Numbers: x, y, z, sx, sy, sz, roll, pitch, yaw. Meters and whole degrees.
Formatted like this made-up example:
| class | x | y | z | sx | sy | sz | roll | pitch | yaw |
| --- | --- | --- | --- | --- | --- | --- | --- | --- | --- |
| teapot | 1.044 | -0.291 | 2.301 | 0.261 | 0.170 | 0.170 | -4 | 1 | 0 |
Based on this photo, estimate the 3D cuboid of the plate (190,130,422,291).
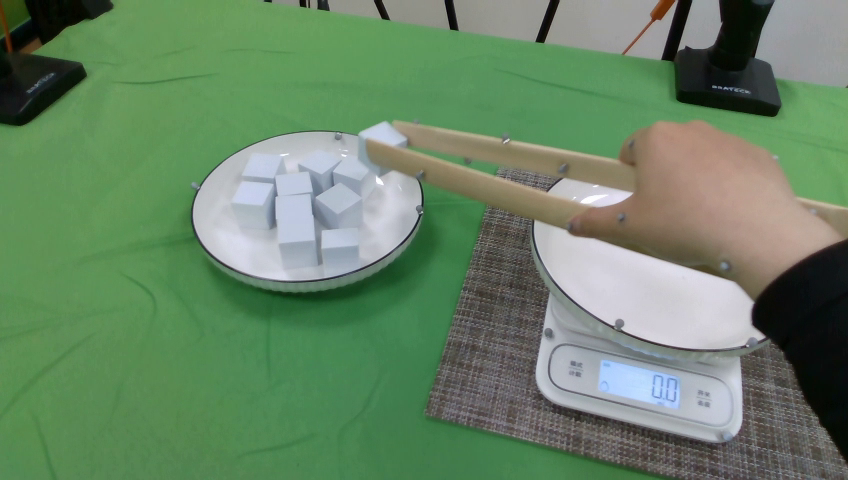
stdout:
| class | x | y | z | sx | sy | sz | roll | pitch | yaw |
| --- | --- | --- | --- | --- | --- | --- | --- | --- | --- |
| plate | -0.106 | -0.028 | 0.565 | 0.209 | 0.038 | 0.207 | 2 | 46 | -1 |

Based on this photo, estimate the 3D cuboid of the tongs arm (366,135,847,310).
| class | x | y | z | sx | sy | sz | roll | pitch | yaw |
| --- | --- | --- | --- | --- | --- | --- | --- | --- | --- |
| tongs arm | 0.098 | -0.025 | 0.406 | 0.384 | 0.028 | 0.028 | 21 | 44 | 36 |

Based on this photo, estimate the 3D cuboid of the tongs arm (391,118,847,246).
| class | x | y | z | sx | sy | sz | roll | pitch | yaw |
| --- | --- | --- | --- | --- | --- | --- | --- | --- | --- |
| tongs arm | 0.113 | -0.039 | 0.418 | 0.381 | 0.027 | 0.050 | 17 | 45 | 34 |

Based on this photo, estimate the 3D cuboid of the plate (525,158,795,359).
| class | x | y | z | sx | sy | sz | roll | pitch | yaw |
| --- | --- | --- | --- | --- | --- | --- | --- | --- | --- |
| plate | 0.184 | 0.012 | 0.491 | 0.208 | 0.039 | 0.205 | 2 | 46 | -2 |

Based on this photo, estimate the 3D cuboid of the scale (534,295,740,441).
| class | x | y | z | sx | sy | sz | roll | pitch | yaw |
| --- | --- | --- | --- | --- | --- | --- | --- | --- | --- |
| scale | 0.176 | 0.055 | 0.495 | 0.148 | 0.032 | 0.199 | 12 | 47 | 10 |
